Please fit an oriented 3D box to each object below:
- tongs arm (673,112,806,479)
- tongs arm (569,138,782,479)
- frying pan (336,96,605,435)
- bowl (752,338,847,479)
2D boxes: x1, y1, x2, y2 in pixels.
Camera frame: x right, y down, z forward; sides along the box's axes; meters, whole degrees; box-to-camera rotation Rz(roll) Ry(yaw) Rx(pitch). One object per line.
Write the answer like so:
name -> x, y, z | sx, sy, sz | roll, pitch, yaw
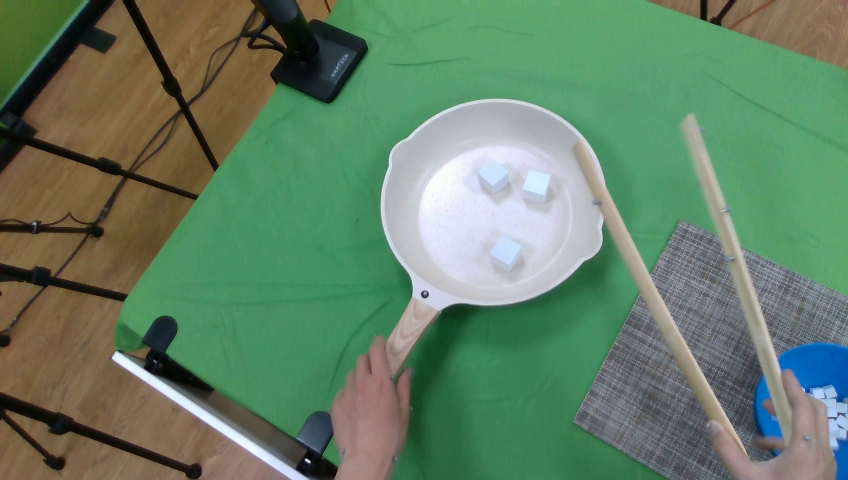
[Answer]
tongs arm -> 0.310, 0.045, 0.626 | 0.051, 0.026, 0.382 | -11, 74, -11
tongs arm -> 0.242, 0.063, 0.613 | 0.028, 0.028, 0.385 | -21, 76, -17
frying pan -> 0.033, 0.029, 0.774 | 0.305, 0.103, 0.486 | 28, 69, 18
bowl -> 0.432, 0.189, 0.665 | 0.151, 0.077, 0.150 | -3, 70, 8
